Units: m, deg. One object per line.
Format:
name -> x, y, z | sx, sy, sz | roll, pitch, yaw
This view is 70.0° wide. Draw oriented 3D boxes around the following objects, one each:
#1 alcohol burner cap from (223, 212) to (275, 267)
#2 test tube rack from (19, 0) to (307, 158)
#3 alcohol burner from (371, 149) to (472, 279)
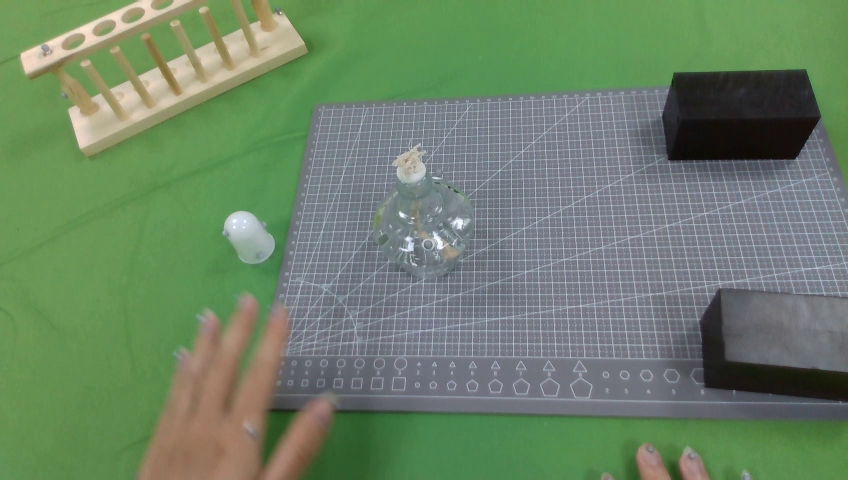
alcohol burner cap -> -0.146, -0.003, 0.499 | 0.034, 0.048, 0.033 | -4, 58, 7
test tube rack -> -0.248, -0.182, 0.597 | 0.242, 0.086, 0.066 | -28, 59, -9
alcohol burner -> -0.004, -0.022, 0.444 | 0.078, 0.120, 0.077 | -4, 56, 6
